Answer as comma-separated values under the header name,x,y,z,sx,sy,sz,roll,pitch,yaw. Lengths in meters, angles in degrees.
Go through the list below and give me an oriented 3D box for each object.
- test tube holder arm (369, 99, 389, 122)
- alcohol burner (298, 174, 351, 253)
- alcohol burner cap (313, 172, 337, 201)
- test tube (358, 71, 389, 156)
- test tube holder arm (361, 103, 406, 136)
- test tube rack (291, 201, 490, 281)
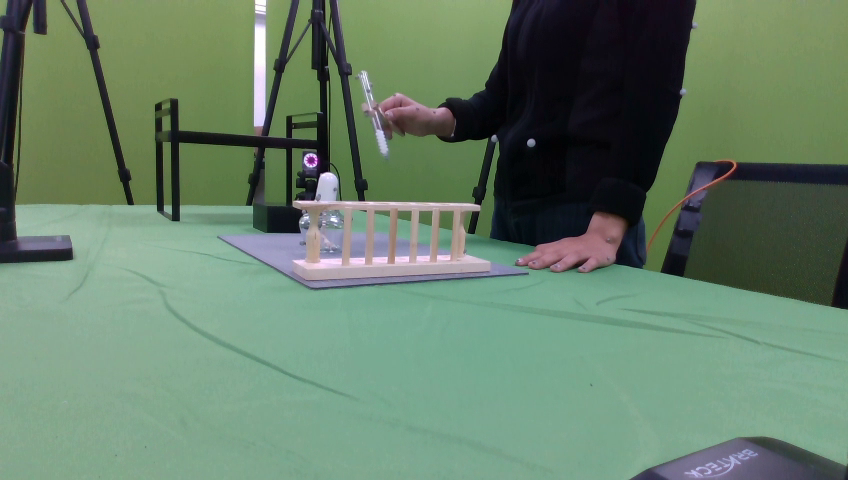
name,x,y,z,sx,sy,sz,roll,pitch,yaw
test tube holder arm,-0.076,-0.217,1.028,0.010,0.015,0.088,-18,-9,8
alcohol burner,-0.146,-0.040,0.894,0.078,0.119,0.078,5,7,0
alcohol burner cap,-0.144,-0.076,0.888,0.034,0.048,0.034,8,6,-1
test tube,-0.084,-0.211,1.006,0.017,0.150,0.017,-16,-8,-2
test tube holder arm,-0.069,-0.212,1.073,0.013,0.015,0.179,-18,-10,16
test tube rack,-0.035,-0.002,0.745,0.243,0.085,0.066,-1,8,-28
